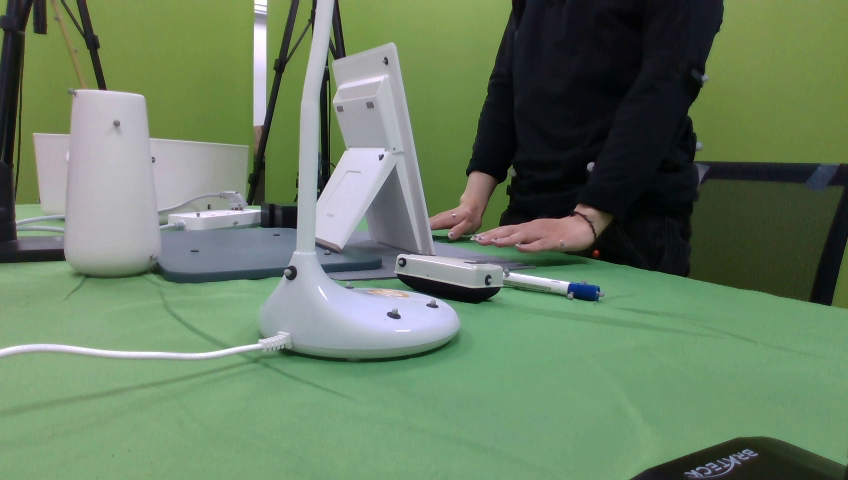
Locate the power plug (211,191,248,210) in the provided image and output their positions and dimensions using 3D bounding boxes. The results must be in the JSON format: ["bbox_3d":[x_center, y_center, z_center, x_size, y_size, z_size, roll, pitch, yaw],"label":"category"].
[{"bbox_3d":[-0.384,-0.071,1.206,0.072,0.052,0.035,1,7,27],"label":"power plug"}]

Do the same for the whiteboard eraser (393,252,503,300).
[{"bbox_3d":[0.024,0.037,0.637,0.112,0.042,0.056,8,7,42],"label":"whiteboard eraser"}]

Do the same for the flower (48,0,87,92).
[{"bbox_3d":[-0.361,-0.141,0.659,0.038,0.361,0.044,-13,11,12],"label":"flower"}]

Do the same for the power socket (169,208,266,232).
[{"bbox_3d":[-0.379,-0.038,1.129,0.072,0.032,0.227,4,8,18],"label":"power socket"}]

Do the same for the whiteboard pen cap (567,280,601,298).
[{"bbox_3d":[0.171,0.052,0.648,0.033,0.018,0.018,10,10,30],"label":"whiteboard pen cap"}]

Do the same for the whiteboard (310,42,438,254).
[{"bbox_3d":[-0.121,-0.112,0.890,0.144,0.305,0.216,-19,17,-26],"label":"whiteboard"}]

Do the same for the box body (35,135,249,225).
[{"bbox_3d":[-0.561,-0.127,1.258,0.254,0.160,0.365,4,8,13],"label":"box body"}]

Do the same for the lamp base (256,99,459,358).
[{"bbox_3d":[-0.055,-0.013,0.463,0.160,0.180,0.180,6,11,27],"label":"lamp base"}]

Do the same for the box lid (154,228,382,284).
[{"bbox_3d":[-0.250,0.014,0.853,0.265,0.015,0.369,-3,9,-32],"label":"box lid"}]

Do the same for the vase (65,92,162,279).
[{"bbox_3d":[-0.347,-0.060,0.673,0.098,0.200,0.098,0,7,0],"label":"vase"}]

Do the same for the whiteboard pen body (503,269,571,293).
[{"bbox_3d":[0.123,0.046,0.680,0.140,0.017,0.017,8,9,30],"label":"whiteboard pen body"}]
